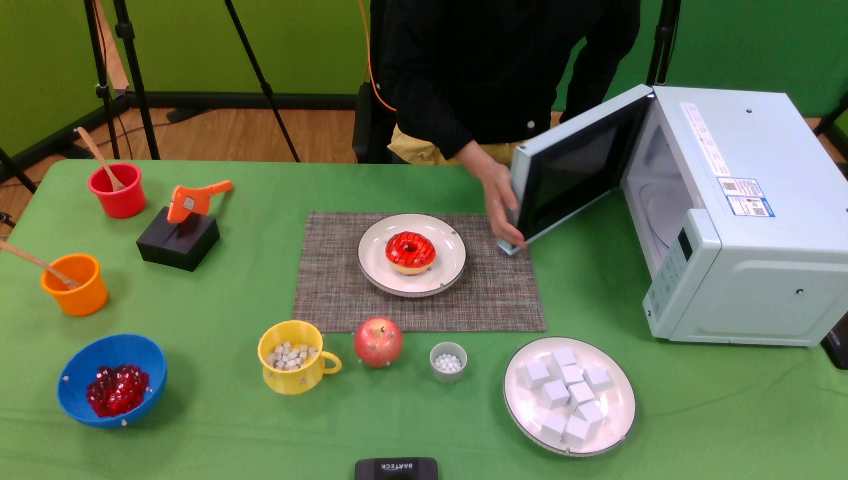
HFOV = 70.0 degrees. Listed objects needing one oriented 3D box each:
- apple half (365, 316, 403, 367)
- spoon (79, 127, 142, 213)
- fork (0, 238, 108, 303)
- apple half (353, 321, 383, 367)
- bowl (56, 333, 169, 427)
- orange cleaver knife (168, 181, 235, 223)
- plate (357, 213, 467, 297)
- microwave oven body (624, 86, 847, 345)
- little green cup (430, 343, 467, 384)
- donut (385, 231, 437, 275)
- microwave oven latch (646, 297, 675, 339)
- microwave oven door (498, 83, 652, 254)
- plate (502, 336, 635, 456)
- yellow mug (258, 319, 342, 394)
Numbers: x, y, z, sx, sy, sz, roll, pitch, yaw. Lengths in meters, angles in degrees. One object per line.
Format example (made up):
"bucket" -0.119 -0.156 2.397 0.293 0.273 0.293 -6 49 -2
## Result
"apple half" -0.063 0.165 1.000 0.053 0.075 0.080 -16 45 -24
"spoon" -0.624 -0.139 1.203 0.041 0.021 0.194 -33 100 -26
"fork" -0.633 0.048 1.017 0.208 0.018 0.028 40 43 -27
"apple half" -0.097 0.177 0.984 0.033 0.081 0.081 -17 49 -25
"bowl" -0.456 0.223 0.911 0.151 0.077 0.150 3 46 -2
"orange cleaver knife" -0.436 -0.078 1.196 0.012 0.077 0.211 16 15 10
"plate" -0.023 0.032 1.149 0.209 0.038 0.208 2 46 -2
"microwave oven body" 0.567 -0.053 1.118 0.326 0.261 0.439 2 45 -1
"little green cup" 0.039 0.203 0.993 0.061 0.039 0.061 2 46 -2
"donut" -0.025 0.024 1.142 0.099 0.048 0.098 3 44 -3
"microwave oven latch" 0.412 0.134 1.061 0.030 0.029 0.078 4 45 1
"microwave oven door" 0.296 -0.142 1.178 0.356 0.245 0.039 -30 55 -28
"plate" 0.225 0.248 0.963 0.208 0.039 0.206 2 46 -2
"yellow mug" -0.195 0.188 0.972 0.131 0.064 0.099 9 47 4
